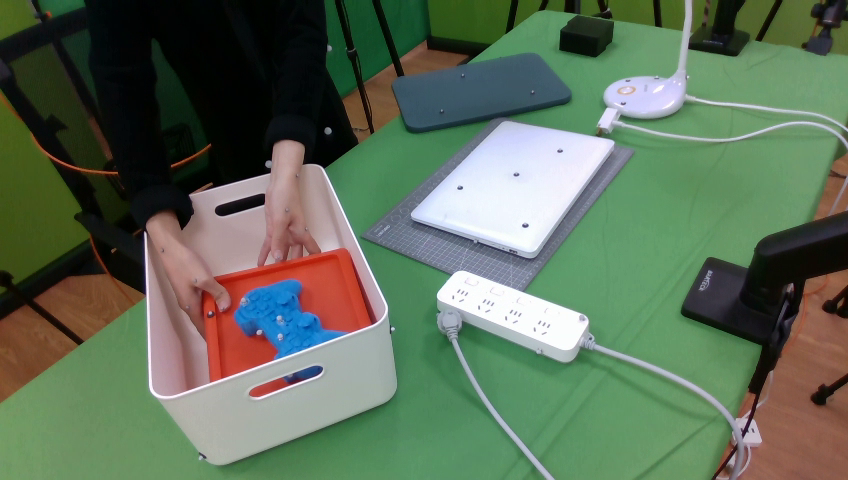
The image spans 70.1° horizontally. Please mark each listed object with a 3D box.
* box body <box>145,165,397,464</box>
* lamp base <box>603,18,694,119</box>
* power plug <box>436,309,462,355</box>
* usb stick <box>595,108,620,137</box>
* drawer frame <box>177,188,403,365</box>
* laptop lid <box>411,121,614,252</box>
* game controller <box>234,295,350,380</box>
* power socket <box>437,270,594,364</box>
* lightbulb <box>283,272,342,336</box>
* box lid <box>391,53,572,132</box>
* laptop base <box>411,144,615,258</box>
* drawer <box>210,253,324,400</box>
[{"bbox_3d":[-0.205,0.080,0.802,0.255,0.161,0.361,-18,41,-13],"label":"box body"},{"bbox_3d":[0.460,-0.355,1.205,0.179,0.181,0.160,2,41,7],"label":"lamp base"},{"bbox_3d":[0.032,0.126,0.809,0.035,0.053,0.072,3,59,7],"label":"power plug"},{"bbox_3d":[0.355,-0.226,1.175,0.027,0.022,0.059,29,85,41],"label":"usb stick"},{"bbox_3d":[-0.166,0.070,0.765,0.201,0.214,0.083,-23,19,26],"label":"drawer frame"},{"bbox_3d":[0.164,-0.112,1.068,0.240,0.013,0.357,19,46,30],"label":"laptop lid"},{"bbox_3d":[-0.160,0.103,0.732,0.097,0.052,0.154,-34,51,-25],"label":"game controller"},{"bbox_3d":[0.118,0.102,0.830,0.225,0.033,0.072,20,48,28],"label":"power socket"},{"bbox_3d":[-0.149,0.090,0.827,0.060,0.059,0.107,-32,63,-27],"label":"lightbulb"},{"bbox_3d":[0.122,-0.339,1.366,0.372,0.015,0.261,-12,40,-5],"label":"box lid"},{"bbox_3d":[0.167,-0.102,1.074,0.234,0.023,0.355,17,45,30],"label":"laptop base"},{"bbox_3d":[-0.172,0.118,0.783,0.195,0.073,0.210,-14,39,-11],"label":"drawer"}]
